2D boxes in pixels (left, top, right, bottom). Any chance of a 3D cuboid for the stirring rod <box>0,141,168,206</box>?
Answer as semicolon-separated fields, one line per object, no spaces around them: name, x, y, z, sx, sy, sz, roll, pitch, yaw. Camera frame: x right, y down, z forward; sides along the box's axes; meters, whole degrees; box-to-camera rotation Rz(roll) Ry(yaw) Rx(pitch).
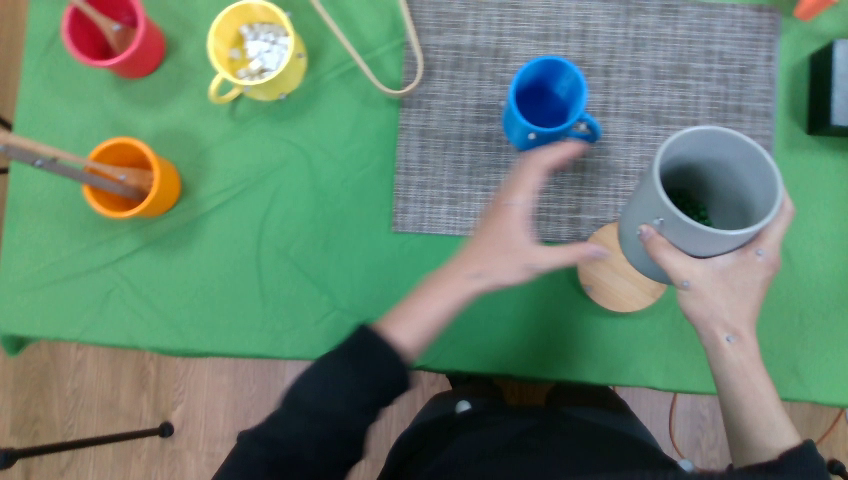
stirring rod;-0.378;-0.073;0.687;0.006;0.178;0.014;-7;68;45

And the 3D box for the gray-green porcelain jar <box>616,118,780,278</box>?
gray-green porcelain jar;0.238;-0.030;0.550;0.106;0.127;0.105;0;65;1

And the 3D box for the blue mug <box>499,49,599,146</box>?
blue mug;0.144;-0.150;0.687;0.116;0.106;0.082;29;89;3

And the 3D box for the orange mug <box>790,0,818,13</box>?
orange mug;0.466;-0.328;0.687;0.083;0.101;0.126;26;85;4

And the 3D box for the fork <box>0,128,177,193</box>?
fork;-0.385;-0.091;0.685;0.209;0.018;0.028;18;87;-41

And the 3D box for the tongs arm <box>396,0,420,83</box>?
tongs arm;-0.073;-0.377;0.722;0.028;0.027;0.388;-21;94;-7

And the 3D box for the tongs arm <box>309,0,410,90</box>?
tongs arm;-0.147;-0.335;0.721;0.051;0.026;0.385;-35;94;-3

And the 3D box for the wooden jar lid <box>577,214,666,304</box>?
wooden jar lid;0.237;0.023;0.722;0.108;0.021;0.108;0;91;3

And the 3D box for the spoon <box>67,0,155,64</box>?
spoon;-0.401;-0.274;0.695;0.041;0.021;0.196;-52;130;-2

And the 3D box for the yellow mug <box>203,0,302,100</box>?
yellow mug;-0.213;-0.219;0.725;0.100;0.064;0.131;42;91;2
